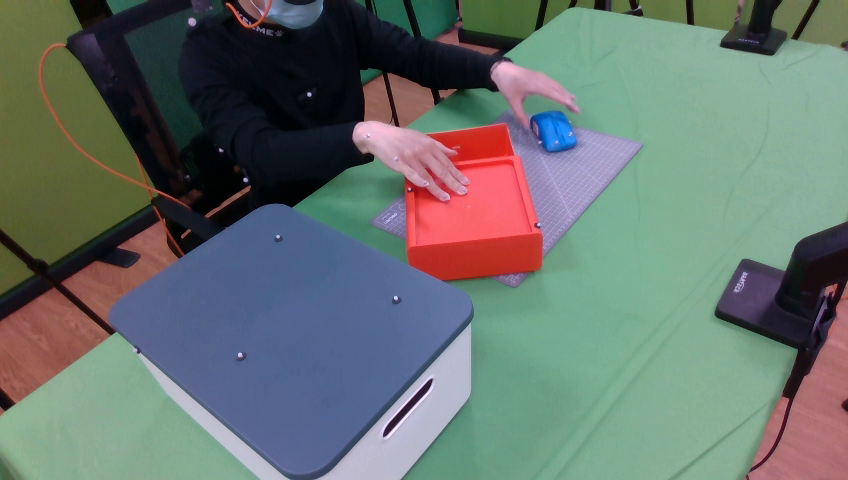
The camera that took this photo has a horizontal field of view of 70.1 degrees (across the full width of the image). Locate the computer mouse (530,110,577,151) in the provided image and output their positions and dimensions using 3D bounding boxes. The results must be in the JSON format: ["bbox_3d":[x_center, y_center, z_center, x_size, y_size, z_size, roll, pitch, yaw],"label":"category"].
[{"bbox_3d":[0.250,-0.216,1.174,0.063,0.041,0.116,-10,45,-5],"label":"computer mouse"}]

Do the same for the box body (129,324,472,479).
[{"bbox_3d":[-0.147,0.136,0.726,0.361,0.161,0.255,25,50,32],"label":"box body"}]

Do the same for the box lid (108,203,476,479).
[{"bbox_3d":[-0.156,0.079,0.678,0.368,0.015,0.264,24,49,32],"label":"box lid"}]

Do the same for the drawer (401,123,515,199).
[{"bbox_3d":[0.065,-0.110,1.041,0.195,0.073,0.210,-6,41,-1],"label":"drawer"}]

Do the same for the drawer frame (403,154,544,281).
[{"bbox_3d":[0.072,-0.040,0.958,0.202,0.083,0.212,-6,41,1],"label":"drawer frame"}]
